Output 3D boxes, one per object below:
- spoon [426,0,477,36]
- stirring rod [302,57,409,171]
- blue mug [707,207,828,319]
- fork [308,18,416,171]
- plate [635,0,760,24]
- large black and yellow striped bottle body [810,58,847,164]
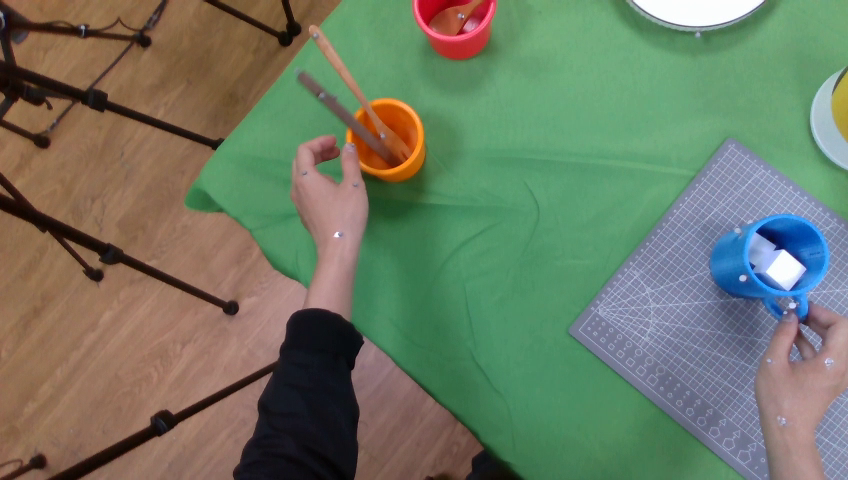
[{"bbox_3d":[0.071,-0.285,0.695,0.193,0.022,0.041,-14,76,50],"label":"spoon"},{"bbox_3d":[-0.075,-0.141,0.699,0.014,0.005,0.178,-52,122,-10],"label":"stirring rod"},{"bbox_3d":[0.369,0.029,0.647,0.082,0.106,0.116,-21,82,5],"label":"blue mug"},{"bbox_3d":[-0.069,-0.163,0.698,0.028,0.018,0.209,-34,125,3],"label":"fork"},{"bbox_3d":[0.327,-0.355,0.724,0.207,0.039,0.207,-1,85,7],"label":"plate"},{"bbox_3d":[0.499,-0.154,0.611,0.130,0.184,0.130,-1,84,7],"label":"large black and yellow striped bottle body"}]
